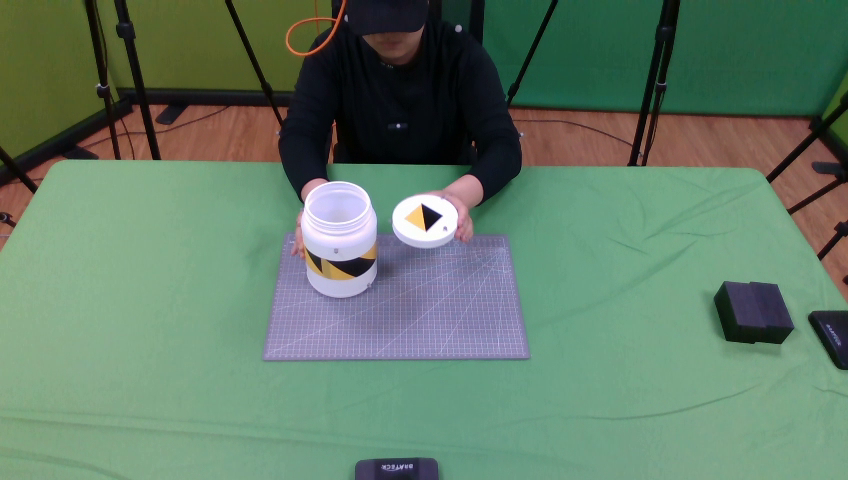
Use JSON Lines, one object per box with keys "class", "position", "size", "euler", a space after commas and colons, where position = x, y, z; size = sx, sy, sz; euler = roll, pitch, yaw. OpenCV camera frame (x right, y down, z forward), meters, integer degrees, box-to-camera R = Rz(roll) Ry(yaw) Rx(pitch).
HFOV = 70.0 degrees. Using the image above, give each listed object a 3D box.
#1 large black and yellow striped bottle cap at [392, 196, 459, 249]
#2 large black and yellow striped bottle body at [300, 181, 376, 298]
{"class": "large black and yellow striped bottle cap", "position": [0.003, -0.032, 1.038], "size": [0.115, 0.019, 0.114], "euler": [0, 46, 0]}
{"class": "large black and yellow striped bottle body", "position": [-0.150, -0.001, 1.072], "size": [0.131, 0.185, 0.130], "euler": [2, 46, -2]}
